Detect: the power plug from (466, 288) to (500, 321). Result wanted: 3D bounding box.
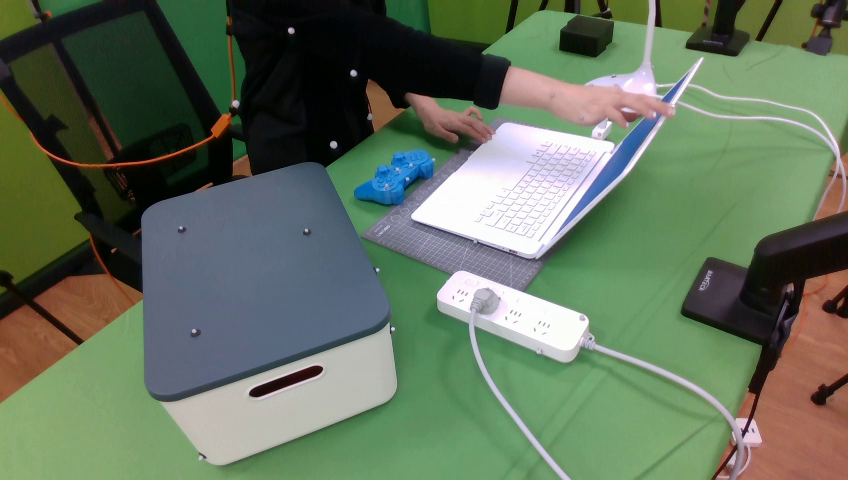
[{"bbox_3d":[0.072,0.093,0.813,0.073,0.053,0.035,-37,49,-28],"label":"power plug"}]

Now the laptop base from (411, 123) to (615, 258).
[{"bbox_3d":[0.167,-0.102,1.074,0.234,0.023,0.355,16,45,30],"label":"laptop base"}]

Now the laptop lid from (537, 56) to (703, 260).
[{"bbox_3d":[0.304,-0.128,0.928,0.013,0.241,0.357,39,51,4],"label":"laptop lid"}]

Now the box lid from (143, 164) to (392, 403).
[{"bbox_3d":[-0.212,0.025,0.753,0.264,0.015,0.368,-18,40,-13],"label":"box lid"}]

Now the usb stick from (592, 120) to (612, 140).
[{"bbox_3d":[0.335,-0.203,1.148,0.021,0.027,0.059,25,52,26],"label":"usb stick"}]

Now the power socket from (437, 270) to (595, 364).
[{"bbox_3d":[0.119,0.102,0.830,0.225,0.033,0.072,20,48,28],"label":"power socket"}]

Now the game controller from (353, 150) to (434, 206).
[{"bbox_3d":[-0.051,-0.121,1.105,0.096,0.052,0.155,23,49,28],"label":"game controller"}]

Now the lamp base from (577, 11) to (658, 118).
[{"bbox_3d":[0.406,-0.363,1.222,0.180,0.181,0.159,-20,42,-18],"label":"lamp base"}]

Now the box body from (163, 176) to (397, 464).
[{"bbox_3d":[-0.205,0.080,0.802,0.255,0.161,0.361,-18,41,-13],"label":"box body"}]
